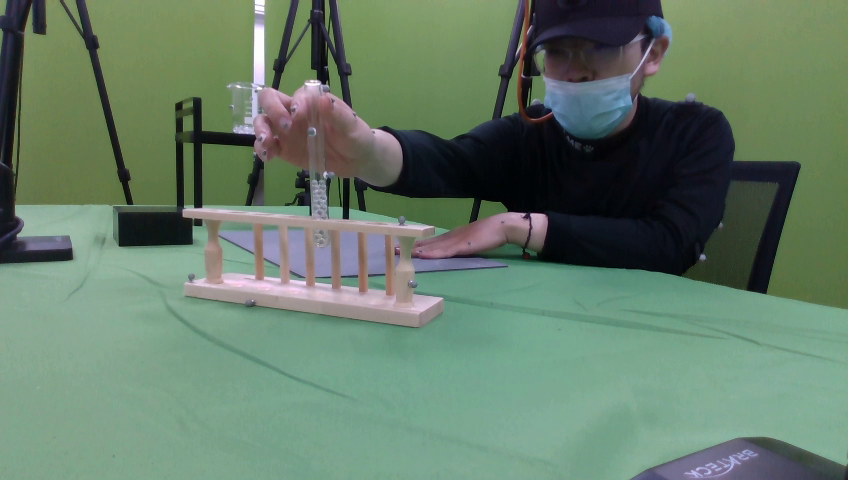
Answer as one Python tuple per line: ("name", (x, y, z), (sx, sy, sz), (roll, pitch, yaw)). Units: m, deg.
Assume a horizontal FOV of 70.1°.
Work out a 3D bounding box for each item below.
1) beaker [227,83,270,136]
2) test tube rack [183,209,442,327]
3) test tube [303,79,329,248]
("beaker", (-0.354, -0.262, 1.224), (0.084, 0.100, 0.073), (-2, 8, -28))
("test tube rack", (-0.106, 0.019, 0.569), (0.241, 0.085, 0.067), (5, 8, 20))
("test tube", (-0.096, -0.068, 0.540), (0.017, 0.150, 0.017), (-3, 4, 1))
